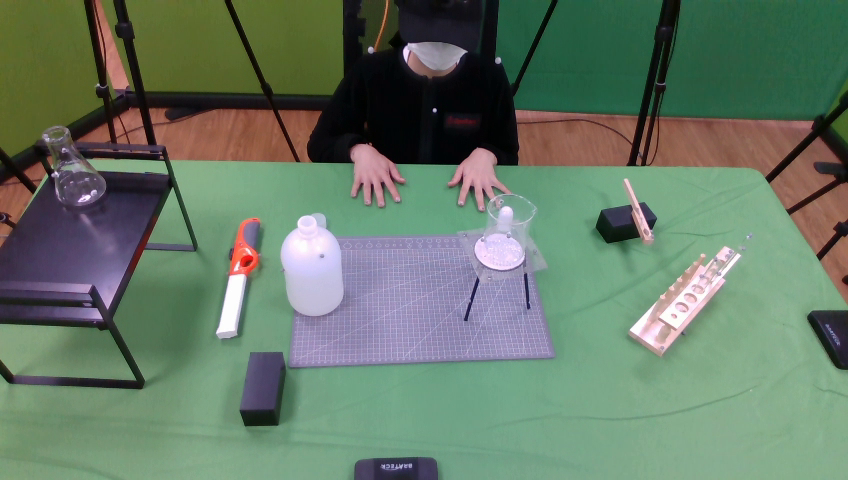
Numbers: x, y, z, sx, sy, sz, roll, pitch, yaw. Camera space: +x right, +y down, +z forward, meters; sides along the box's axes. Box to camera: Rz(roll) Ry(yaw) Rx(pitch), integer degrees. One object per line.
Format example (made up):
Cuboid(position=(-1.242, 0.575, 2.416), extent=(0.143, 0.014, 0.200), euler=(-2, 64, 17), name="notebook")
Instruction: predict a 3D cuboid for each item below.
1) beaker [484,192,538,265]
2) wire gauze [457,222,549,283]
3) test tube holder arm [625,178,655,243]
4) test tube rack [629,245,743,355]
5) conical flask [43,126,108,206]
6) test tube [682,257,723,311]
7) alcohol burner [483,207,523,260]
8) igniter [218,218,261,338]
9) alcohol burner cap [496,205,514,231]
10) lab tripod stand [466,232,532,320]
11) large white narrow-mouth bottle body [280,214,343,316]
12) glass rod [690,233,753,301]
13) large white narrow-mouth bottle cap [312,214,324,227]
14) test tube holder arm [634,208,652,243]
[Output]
Cuboid(position=(0.137, -0.016, 0.980), extent=(0.084, 0.101, 0.073), euler=(-6, 45, -9), name="beaker")
Cuboid(position=(0.131, 0.016, 1.017), extent=(0.121, 0.011, 0.124), euler=(-10, 44, -16), name="wire gauze")
Cuboid(position=(0.433, -0.062, 1.220), extent=(0.013, 0.015, 0.177), euler=(1, 47, -3), name="test tube holder arm")
Cuboid(position=(0.474, 0.095, 1.091), extent=(0.242, 0.085, 0.066), euler=(-34, 56, -31), name="test tube rack")
Cuboid(position=(-0.555, -0.119, 0.953), extent=(0.075, 0.122, 0.075), euler=(2, 46, -2), name="conical flask")
Cuboid(position=(0.475, 0.080, 1.037), extent=(0.017, 0.151, 0.017), euler=(1, 51, -1), name="test tube")
Cuboid(position=(0.152, -0.018, 1.156), extent=(0.078, 0.120, 0.077), euler=(0, 47, 0), name="alcohol burner")
Cuboid(position=(-0.336, 0.060, 1.111), extent=(0.057, 0.025, 0.274), euler=(-8, 46, 4), name="igniter")
Cuboid(position=(0.153, -0.044, 1.131), extent=(0.034, 0.048, 0.033), euler=(2, 40, -1), name="alcohol burner cap")
Cuboid(position=(0.125, 0.059, 1.065), extent=(0.148, 0.132, 0.147), euler=(1, 45, 0), name="lab tripod stand")
Cuboid(position=(-0.190, 0.035, 1.025), extent=(0.102, 0.195, 0.101), euler=(2, 46, -2), name="large white narrow-mouth bottle body")
Cuboid(position=(0.507, 0.053, 1.041), extent=(0.008, 0.200, 0.008), euler=(5, 51, -6), name="glass rod")
Cuboid(position=(-0.219, -0.033, 1.214), extent=(0.038, 0.024, 0.037), euler=(2, 46, -2), name="large white narrow-mouth bottle cap")
Cuboid(position=(0.428, -0.030, 1.189), extent=(0.010, 0.015, 0.087), euler=(2, 47, -3), name="test tube holder arm")
